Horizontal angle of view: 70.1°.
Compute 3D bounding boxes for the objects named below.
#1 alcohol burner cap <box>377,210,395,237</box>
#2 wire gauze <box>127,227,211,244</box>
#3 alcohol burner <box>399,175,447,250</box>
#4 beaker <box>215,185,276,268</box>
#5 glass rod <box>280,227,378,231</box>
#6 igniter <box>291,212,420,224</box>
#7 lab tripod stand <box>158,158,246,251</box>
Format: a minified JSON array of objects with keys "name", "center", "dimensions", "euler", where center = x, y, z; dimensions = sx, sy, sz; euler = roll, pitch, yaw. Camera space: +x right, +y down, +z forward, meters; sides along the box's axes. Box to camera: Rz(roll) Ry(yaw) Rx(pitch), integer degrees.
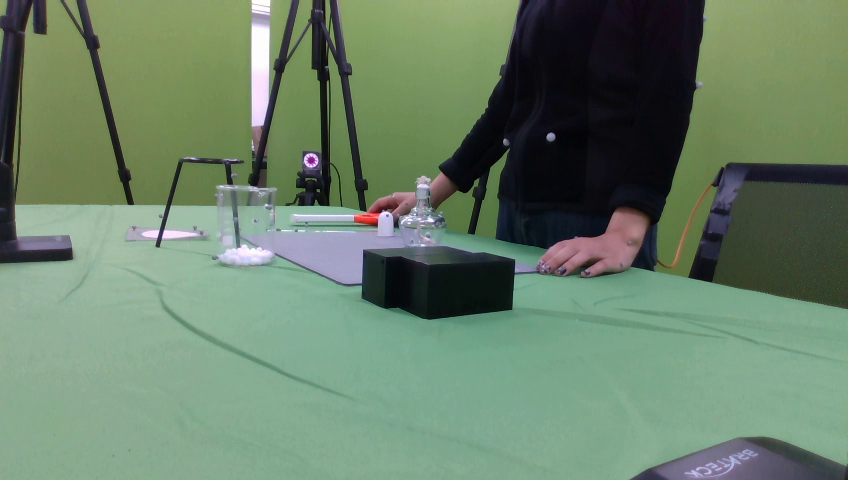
[{"name":"alcohol burner cap","center":[-0.069,-0.031,1.112],"dimensions":[0.034,0.048,0.034],"euler":[2,8,0]},{"name":"wire gauze","center":[-0.420,-0.010,0.999],"dimensions":[0.122,0.011,0.124],"euler":[-2,10,-24]},{"name":"alcohol burner","center":[-0.001,-0.044,0.962],"dimensions":[0.078,0.119,0.078],"euler":[0,8,0]},{"name":"beaker","center":[-0.226,-0.019,0.773],"dimensions":[0.074,0.100,0.084],"euler":[5,7,14]},{"name":"glass rod","center":[-0.175,-0.021,1.161],"dimensions":[0.200,0.008,0.008],"euler":[0,7,-15]},{"name":"igniter","center":[-0.142,-0.047,1.286],"dimensions":[0.278,0.025,0.057],"euler":[-1,5,-24]},{"name":"lab tripod stand","center":[-0.314,-0.055,0.891],"dimensions":[0.148,0.131,0.148],"euler":[2,9,0]}]
